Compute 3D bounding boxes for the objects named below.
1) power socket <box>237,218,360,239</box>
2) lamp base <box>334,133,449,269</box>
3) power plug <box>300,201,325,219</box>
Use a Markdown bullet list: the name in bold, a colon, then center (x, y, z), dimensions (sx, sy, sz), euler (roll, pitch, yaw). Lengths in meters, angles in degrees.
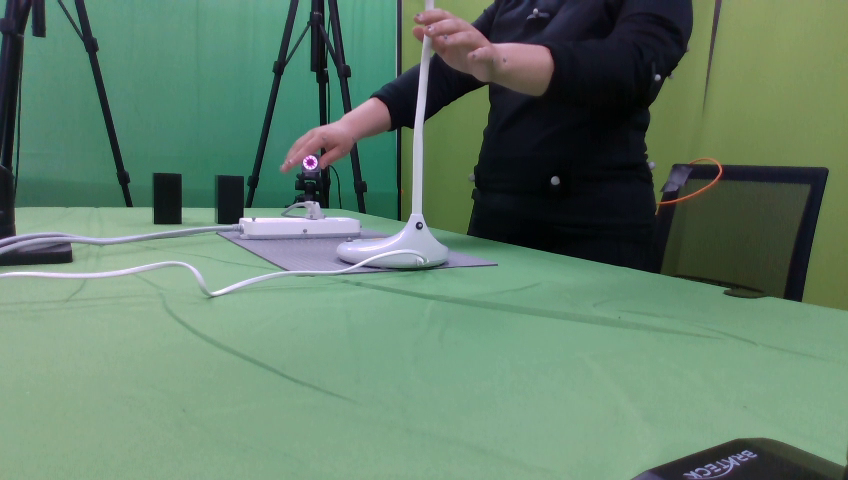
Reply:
- **power socket**: center (-0.220, -0.023, 1.080), dimensions (0.228, 0.032, 0.072), euler (-2, 7, -33)
- **lamp base**: center (-0.034, -0.057, 0.830), dimensions (0.161, 0.180, 0.178), euler (-3, 12, -36)
- **power plug**: center (-0.207, -0.046, 1.120), dimensions (0.035, 0.052, 0.072), euler (1, 5, -21)
